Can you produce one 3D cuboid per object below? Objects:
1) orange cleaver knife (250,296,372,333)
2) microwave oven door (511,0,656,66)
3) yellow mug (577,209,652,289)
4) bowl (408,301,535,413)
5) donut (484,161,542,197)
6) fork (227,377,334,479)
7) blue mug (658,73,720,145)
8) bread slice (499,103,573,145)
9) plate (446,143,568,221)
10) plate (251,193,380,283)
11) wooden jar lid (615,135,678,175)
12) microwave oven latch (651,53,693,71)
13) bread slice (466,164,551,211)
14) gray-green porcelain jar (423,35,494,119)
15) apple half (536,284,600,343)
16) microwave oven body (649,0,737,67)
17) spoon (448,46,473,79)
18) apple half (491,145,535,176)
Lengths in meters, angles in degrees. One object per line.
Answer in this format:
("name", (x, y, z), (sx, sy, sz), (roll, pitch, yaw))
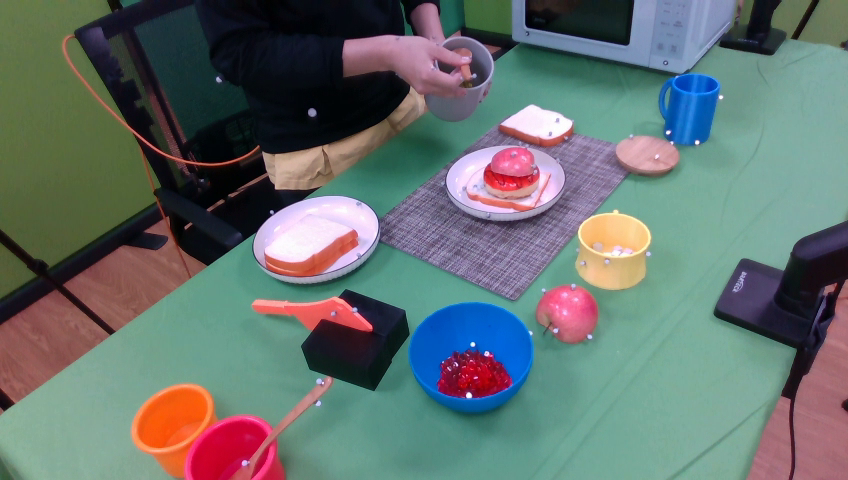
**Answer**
("orange cleaver knife", (-0.159, 0.103, 0.828), (0.210, 0.078, 0.012), (-4, 43, 39))
("microwave oven door", (0.351, -0.540, 1.349), (0.353, 0.245, 0.039), (24, 50, 31))
("yellow mug", (0.279, 0.004, 0.893), (0.099, 0.064, 0.130), (5, 41, 15))
("bowl", (0.059, 0.156, 0.739), (0.151, 0.077, 0.150), (-4, 40, 4))
("donut", (0.149, -0.110, 1.016), (0.099, 0.048, 0.098), (-4, 40, 4))
("fork", (-0.162, 0.216, 0.647), (0.207, 0.019, 0.028), (-49, 41, 16))
("blue mug", (0.483, -0.250, 1.127), (0.082, 0.106, 0.115), (-26, 44, -19))
("bread slice", (0.231, -0.232, 1.205), (0.105, 0.019, 0.130), (-36, 47, -28))
("plate", (0.142, -0.097, 1.045), (0.207, 0.039, 0.206), (-4, 40, 4))
("plate", (-0.173, -0.001, 0.984), (0.209, 0.038, 0.208), (-4, 41, 4))
("wooden jar lid", (0.398, -0.151, 1.086), (0.108, 0.021, 0.108), (-1, 42, 2))
("microwave oven latch", (0.532, -0.386, 1.301), (0.078, 0.029, 0.030), (27, 52, 34))
("bread slice", (0.141, -0.092, 1.043), (0.133, 0.018, 0.107), (11, 43, 18))
("gray-green porcelain jar", (0.057, -0.286, 1.087), (0.106, 0.126, 0.105), (4, 72, -10))
("apple half", (0.196, 0.091, 0.815), (0.075, 0.053, 0.080), (-22, 42, -20))
("microwave oven body", (0.475, -0.602, 1.411), (0.438, 0.261, 0.327), (23, 50, 32))
("spoon", (0.063, -0.288, 0.977), (0.041, 0.022, 0.193), (-7, 25, 3))
("apple half", (0.147, -0.138, 0.994), (0.081, 0.033, 0.081), (0, 37, 0))
